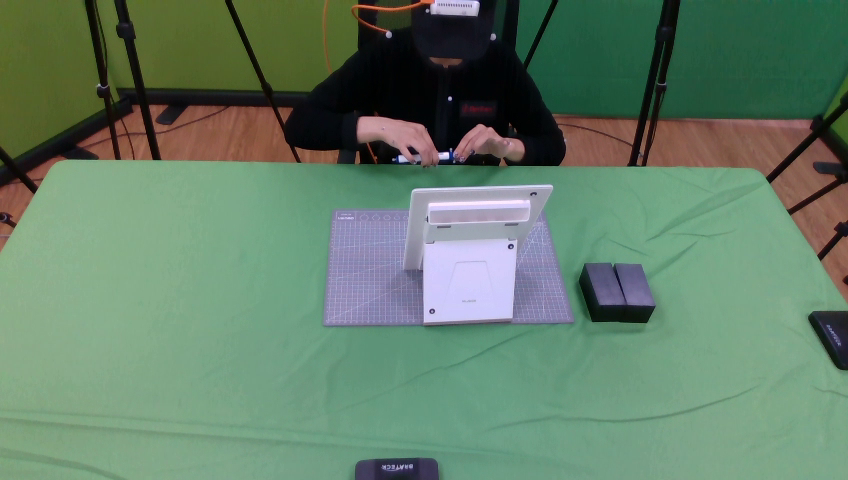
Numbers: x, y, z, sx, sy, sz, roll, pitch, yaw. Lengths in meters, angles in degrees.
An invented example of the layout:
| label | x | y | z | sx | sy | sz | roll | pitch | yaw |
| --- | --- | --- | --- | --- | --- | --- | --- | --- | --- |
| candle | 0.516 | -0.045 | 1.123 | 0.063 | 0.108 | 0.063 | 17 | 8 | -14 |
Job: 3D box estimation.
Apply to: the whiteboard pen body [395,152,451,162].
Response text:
| label | x | y | z | sx | sy | sz | roll | pitch | yaw |
| --- | --- | --- | --- | --- | --- | --- | --- | --- | --- |
| whiteboard pen body | 0.008 | -0.178 | 1.295 | 0.141 | 0.017 | 0.017 | -4 | 47 | -2 |

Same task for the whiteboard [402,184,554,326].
| label | x | y | z | sx | sy | sz | roll | pitch | yaw |
| --- | --- | --- | --- | --- | --- | --- | --- | --- | --- |
| whiteboard | 0.081 | 0.044 | 1.005 | 0.217 | 0.306 | 0.143 | -1 | 65 | -6 |

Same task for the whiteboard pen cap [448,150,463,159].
| label | x | y | z | sx | sy | sz | roll | pitch | yaw |
| --- | --- | --- | --- | --- | --- | --- | --- | --- | --- |
| whiteboard pen cap | 0.067 | -0.183 | 1.299 | 0.033 | 0.018 | 0.018 | -4 | 47 | -3 |
